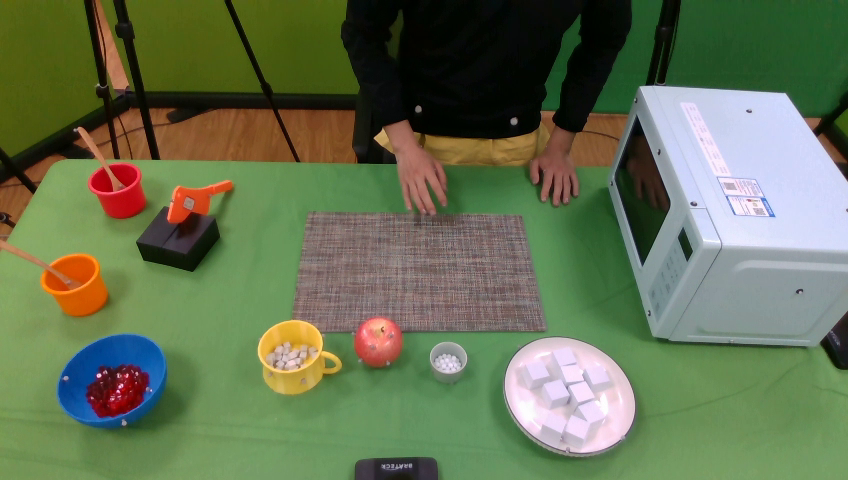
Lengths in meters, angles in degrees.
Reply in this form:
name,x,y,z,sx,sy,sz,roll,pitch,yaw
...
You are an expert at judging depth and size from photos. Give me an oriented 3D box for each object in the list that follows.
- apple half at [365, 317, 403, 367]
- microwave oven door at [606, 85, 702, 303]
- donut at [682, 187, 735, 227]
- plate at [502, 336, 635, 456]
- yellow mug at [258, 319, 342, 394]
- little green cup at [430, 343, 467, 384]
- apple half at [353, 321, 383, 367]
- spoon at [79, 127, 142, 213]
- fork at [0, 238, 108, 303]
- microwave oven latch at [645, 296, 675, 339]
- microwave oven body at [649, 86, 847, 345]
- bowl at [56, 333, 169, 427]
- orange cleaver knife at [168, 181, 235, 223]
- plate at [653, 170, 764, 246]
name,x,y,z,sx,sy,sz,roll,pitch,yaw
apple half,-0.063,0.165,1.000,0.053,0.075,0.080,-16,45,-24
microwave oven door,0.422,-0.094,1.140,0.039,0.245,0.353,2,46,-1
donut,0.554,-0.066,1.183,0.099,0.048,0.098,3,44,-3
plate,0.225,0.248,0.963,0.208,0.039,0.206,2,46,-2
yellow mug,-0.195,0.188,0.972,0.131,0.064,0.099,9,47,4
little green cup,0.039,0.203,0.994,0.061,0.039,0.061,2,46,-2
apple half,-0.097,0.177,0.984,0.033,0.081,0.081,-17,49,-24
spoon,-0.625,-0.139,1.203,0.041,0.021,0.194,-33,101,-26
fork,-0.633,0.048,1.017,0.208,0.018,0.028,40,43,-27
microwave oven latch,0.412,0.134,1.061,0.030,0.029,0.078,3,45,0
microwave oven body,0.567,-0.053,1.118,0.326,0.261,0.439,2,45,-1
bowl,-0.456,0.223,0.912,0.151,0.077,0.150,3,46,-2
orange cleaver knife,-0.436,-0.078,1.196,0.012,0.077,0.211,16,15,10
plate,0.556,-0.059,1.196,0.209,0.038,0.208,2,45,-1
